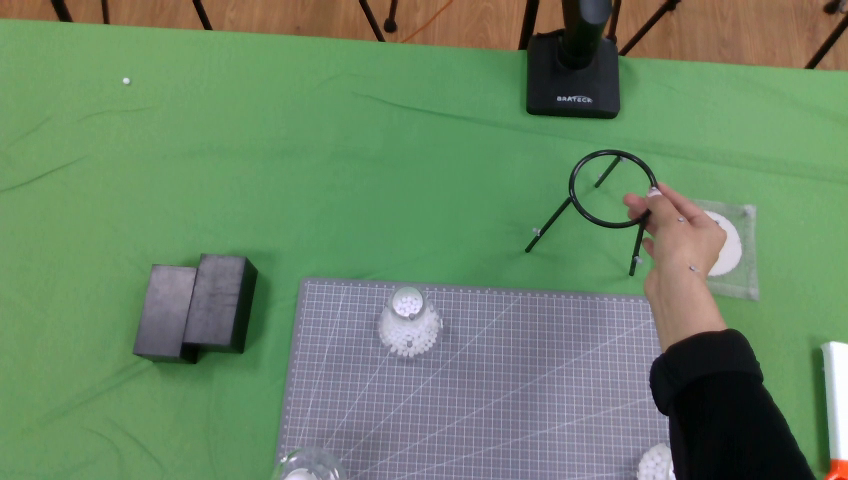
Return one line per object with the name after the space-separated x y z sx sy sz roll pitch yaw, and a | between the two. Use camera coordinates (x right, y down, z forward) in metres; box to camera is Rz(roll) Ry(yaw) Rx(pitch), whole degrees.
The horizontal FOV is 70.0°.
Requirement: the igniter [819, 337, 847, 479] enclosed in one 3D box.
0.444 0.240 0.640 0.057 0.025 0.275 12 71 -7 | igniter

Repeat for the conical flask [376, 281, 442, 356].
-0.017 0.077 0.640 0.075 0.122 0.075 0 70 0 | conical flask

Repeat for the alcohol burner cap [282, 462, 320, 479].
-0.115 0.222 0.555 0.034 0.048 0.033 1 75 -3 | alcohol burner cap

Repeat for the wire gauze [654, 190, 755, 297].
0.341 0.000 0.735 0.125 0.011 0.121 9 71 1 | wire gauze

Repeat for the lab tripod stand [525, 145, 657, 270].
0.191 -0.033 0.677 0.148 0.132 0.147 -1 71 2 | lab tripod stand

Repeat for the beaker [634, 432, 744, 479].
0.260 0.229 0.601 0.084 0.101 0.073 -32 73 -12 | beaker

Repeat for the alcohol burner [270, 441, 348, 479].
-0.115 0.235 0.588 0.078 0.120 0.077 -1 69 2 | alcohol burner

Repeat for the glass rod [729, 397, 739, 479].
0.330 0.267 0.640 0.008 0.008 0.198 7 71 2 | glass rod
